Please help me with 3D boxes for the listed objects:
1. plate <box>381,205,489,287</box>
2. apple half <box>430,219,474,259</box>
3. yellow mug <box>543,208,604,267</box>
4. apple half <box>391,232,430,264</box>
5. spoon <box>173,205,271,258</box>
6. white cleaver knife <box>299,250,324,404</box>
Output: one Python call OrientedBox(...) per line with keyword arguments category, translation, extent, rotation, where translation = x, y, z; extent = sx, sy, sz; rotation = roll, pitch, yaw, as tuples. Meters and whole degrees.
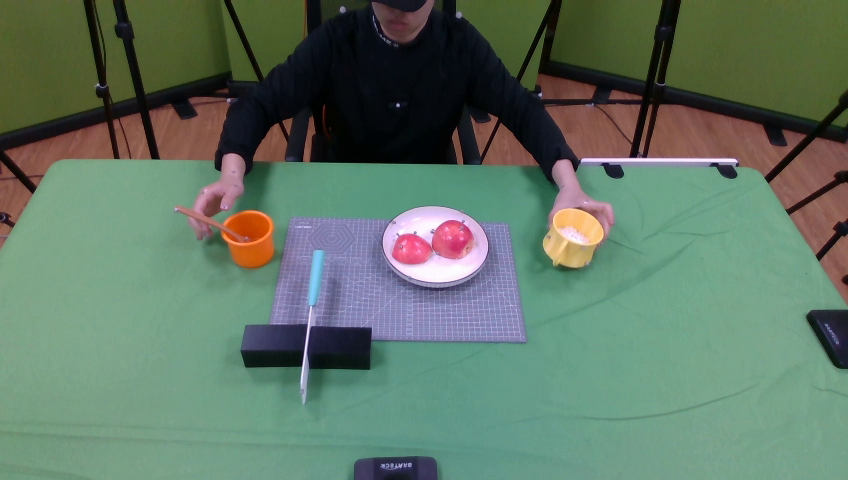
OrientedBox(category="plate", translation=(0.021, 0.015, 1.170), extent=(0.209, 0.038, 0.208), rotation=(2, 46, -2))
OrientedBox(category="apple half", translation=(0.056, -0.008, 1.172), extent=(0.081, 0.053, 0.074), rotation=(-34, 59, -31))
OrientedBox(category="yellow mug", translation=(0.277, 0.002, 1.156), extent=(0.099, 0.064, 0.130), rotation=(31, 48, 17))
OrientedBox(category="apple half", translation=(-0.024, 0.009, 1.163), extent=(0.081, 0.033, 0.081), rotation=(2, 43, -2))
OrientedBox(category="spoon", translation=(-0.362, -0.017, 1.098), extent=(0.021, 0.195, 0.041), rotation=(-33, 41, 26))
OrientedBox(category="white cleaver knife", translation=(-0.194, 0.134, 1.019), extent=(0.021, 0.066, 0.284), rotation=(5, 50, -5))
